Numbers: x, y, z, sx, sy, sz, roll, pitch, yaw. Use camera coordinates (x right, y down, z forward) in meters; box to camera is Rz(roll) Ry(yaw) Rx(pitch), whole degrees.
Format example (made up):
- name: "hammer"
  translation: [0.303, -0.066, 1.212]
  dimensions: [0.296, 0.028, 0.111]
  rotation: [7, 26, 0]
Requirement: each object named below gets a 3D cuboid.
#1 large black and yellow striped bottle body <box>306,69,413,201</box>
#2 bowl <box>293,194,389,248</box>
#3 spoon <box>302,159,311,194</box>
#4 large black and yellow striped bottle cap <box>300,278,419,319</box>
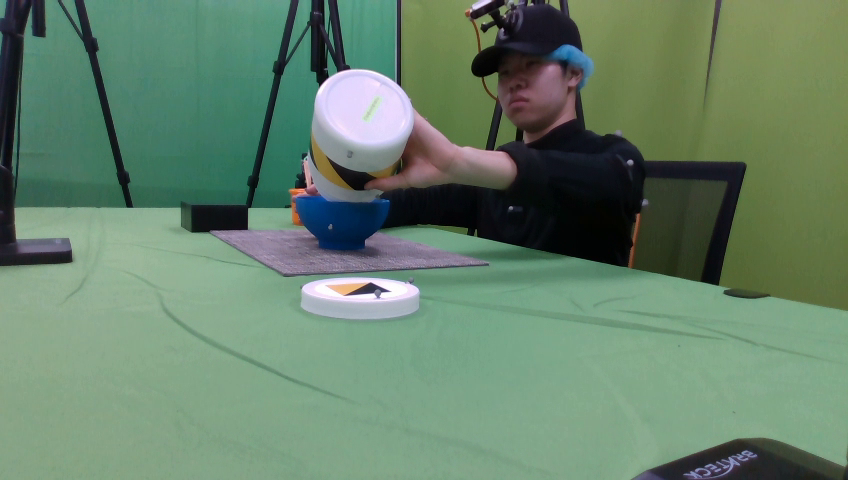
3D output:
- name: "large black and yellow striped bottle body"
  translation: [-0.098, -0.136, 0.861]
  dimensions: [0.131, 0.130, 0.183]
  rotation: [0, -25, -16]
- name: "bowl"
  translation: [-0.132, -0.030, 0.962]
  dimensions: [0.151, 0.077, 0.151]
  rotation: [2, 7, 0]
- name: "spoon"
  translation: [-0.257, -0.113, 1.341]
  dimensions: [0.042, 0.193, 0.021]
  rotation: [4, -38, -19]
- name: "large black and yellow striped bottle cap"
  translation: [-0.062, 0.055, 0.588]
  dimensions: [0.115, 0.019, 0.115]
  rotation: [1, 6, 0]
